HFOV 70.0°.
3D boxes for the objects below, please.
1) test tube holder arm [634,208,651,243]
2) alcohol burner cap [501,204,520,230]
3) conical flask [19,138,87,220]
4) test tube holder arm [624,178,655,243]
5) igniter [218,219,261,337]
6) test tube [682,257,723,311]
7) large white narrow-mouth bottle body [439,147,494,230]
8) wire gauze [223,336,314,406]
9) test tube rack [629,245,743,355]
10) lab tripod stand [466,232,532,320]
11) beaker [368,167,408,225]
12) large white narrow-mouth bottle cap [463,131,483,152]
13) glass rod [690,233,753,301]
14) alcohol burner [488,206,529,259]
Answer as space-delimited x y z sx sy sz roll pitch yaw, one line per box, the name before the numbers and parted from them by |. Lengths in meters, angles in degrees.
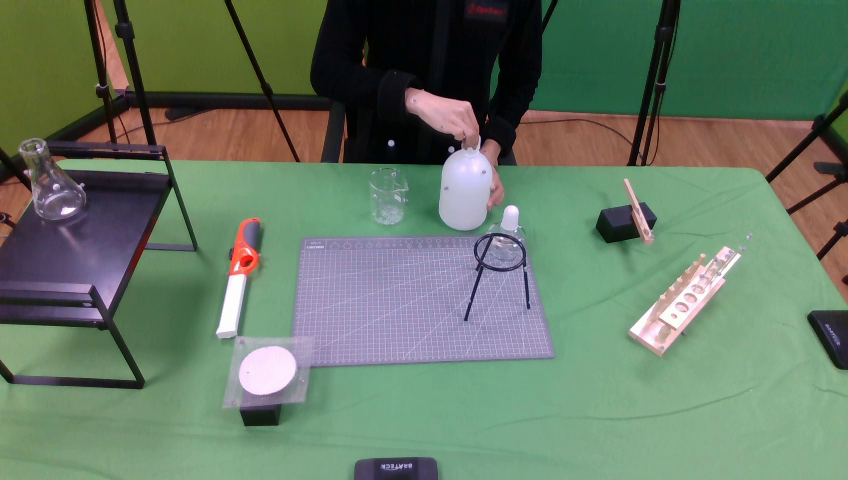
test tube holder arm | 0.428 -0.030 1.189 0.010 0.015 0.087 1 47 -2
alcohol burner cap | 0.164 -0.046 1.133 0.034 0.048 0.033 2 40 -2
conical flask | -0.576 -0.097 0.930 0.075 0.122 0.075 2 46 -2
test tube holder arm | 0.433 -0.062 1.220 0.013 0.015 0.177 0 47 -2
igniter | -0.336 0.060 1.111 0.057 0.025 0.274 -8 46 4
test tube | 0.475 0.080 1.037 0.017 0.151 0.017 1 51 -1
large white narrow-mouth bottle body | 0.085 -0.118 1.196 0.102 0.195 0.101 2 46 -2
wire gauze | -0.237 0.197 0.931 0.121 0.011 0.124 1 45 -4
test tube rack | 0.474 0.095 1.091 0.242 0.085 0.066 -34 56 -31
lab tripod stand | 0.125 0.059 1.065 0.148 0.132 0.147 1 45 0
beaker | -0.070 -0.085 1.220 0.084 0.101 0.074 21 49 15
large white narrow-mouth bottle cap | 0.091 -0.184 1.126 0.038 0.024 0.037 2 46 -2
glass rod | 0.507 0.053 1.041 0.008 0.200 0.008 5 51 -6
alcohol burner | 0.163 -0.020 1.158 0.078 0.120 0.077 0 47 0
